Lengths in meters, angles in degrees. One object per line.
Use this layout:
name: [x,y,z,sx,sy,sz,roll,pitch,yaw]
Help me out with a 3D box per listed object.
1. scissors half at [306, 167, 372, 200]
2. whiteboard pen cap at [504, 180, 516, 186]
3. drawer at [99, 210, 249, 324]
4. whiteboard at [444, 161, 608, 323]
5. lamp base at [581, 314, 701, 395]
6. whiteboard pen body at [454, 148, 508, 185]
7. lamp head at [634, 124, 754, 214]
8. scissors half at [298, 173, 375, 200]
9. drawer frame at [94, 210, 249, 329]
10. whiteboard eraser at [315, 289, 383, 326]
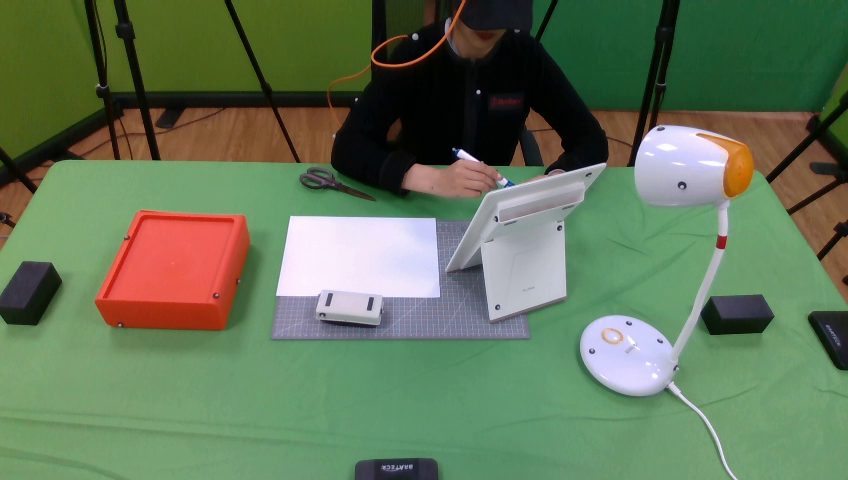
scissors half: [-0.179,-0.121,1.311,0.174,0.013,0.040,27,39,18]
whiteboard pen cap: [0.174,-0.105,1.187,0.033,0.018,0.018,28,48,-1]
drawer: [-0.435,0.044,1.081,0.194,0.073,0.210,3,46,-2]
whiteboard: [0.186,0.025,1.029,0.217,0.306,0.143,-14,68,-18]
lamp base: [0.361,0.144,0.972,0.178,0.181,0.160,34,53,23]
whiteboard pen body: [0.121,-0.139,1.189,0.141,0.017,0.017,33,50,1]
lamp head: [0.351,-0.089,0.776,0.112,0.113,0.122,-30,30,-28]
scissors half: [-0.188,-0.110,1.296,0.175,0.013,0.040,15,42,5]
drawer frame: [-0.434,0.048,1.076,0.202,0.083,0.212,2,47,-3]
whiteboard eraser: [-0.130,0.119,1.054,0.113,0.042,0.055,6,47,1]
